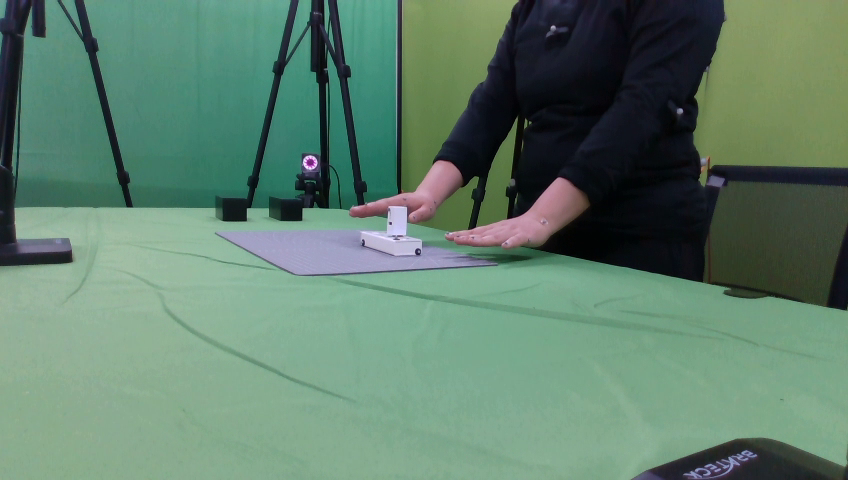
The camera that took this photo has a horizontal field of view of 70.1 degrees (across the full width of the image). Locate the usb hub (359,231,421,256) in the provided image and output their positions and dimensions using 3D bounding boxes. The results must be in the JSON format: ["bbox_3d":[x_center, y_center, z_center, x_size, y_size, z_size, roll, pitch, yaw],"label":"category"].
[{"bbox_3d":[-0.056,0.004,0.954,0.050,0.025,0.124,-2,8,-31],"label":"usb hub"}]

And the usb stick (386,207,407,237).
[{"bbox_3d":[-0.043,-0.022,0.937,0.027,0.059,0.021,-6,10,-34],"label":"usb stick"}]
